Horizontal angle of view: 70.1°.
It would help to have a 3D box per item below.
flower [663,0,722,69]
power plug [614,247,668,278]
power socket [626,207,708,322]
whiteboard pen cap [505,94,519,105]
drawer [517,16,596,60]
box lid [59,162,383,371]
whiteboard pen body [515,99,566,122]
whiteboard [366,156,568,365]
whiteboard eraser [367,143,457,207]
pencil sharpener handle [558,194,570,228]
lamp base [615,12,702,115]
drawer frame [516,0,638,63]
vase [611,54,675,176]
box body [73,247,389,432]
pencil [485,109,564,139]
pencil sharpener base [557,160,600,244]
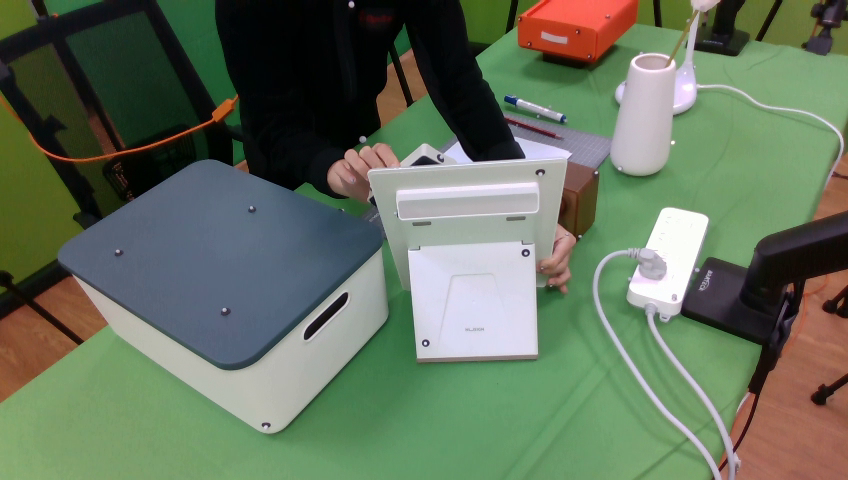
[{"bbox_3d":[0.379,-0.261,0.965,0.044,0.362,0.038,20,53,5],"label":"flower"},{"bbox_3d":[0.306,0.031,0.851,0.072,0.053,0.035,24,49,33],"label":"power plug"},{"bbox_3d":[0.359,0.026,0.886,0.072,0.033,0.227,16,46,26],"label":"power socket"},{"bbox_3d":[0.190,-0.299,1.292,0.033,0.018,0.018,30,52,28],"label":"whiteboard pen cap"},{"bbox_3d":[0.352,-0.506,1.405,0.193,0.073,0.212,23,49,32],"label":"drawer"},{"bbox_3d":[-0.262,0.010,0.777,0.369,0.015,0.264,21,48,29],"label":"box lid"},{"bbox_3d":[0.233,-0.274,1.262,0.139,0.017,0.017,28,51,29],"label":"whiteboard pen body"},{"bbox_3d":[0.059,0.050,0.738,0.217,0.307,0.143,-2,60,6],"label":"whiteboard"},{"bbox_3d":[-0.015,-0.065,0.711,0.056,0.112,0.041,22,52,-34],"label":"whiteboard eraser"},{"bbox_3d":[0.195,-0.038,0.908,0.035,0.068,0.031,24,50,31],"label":"pencil sharpener handle"},{"bbox_3d":[0.484,-0.363,1.211,0.180,0.181,0.159,-15,41,-14],"label":"lamp base"},{"bbox_3d":[0.355,-0.508,1.410,0.200,0.083,0.214,23,51,32],"label":"drawer frame"},{"bbox_3d":[0.377,-0.209,1.031,0.098,0.201,0.097,-3,40,3],"label":"vase"},{"bbox_3d":[-0.255,0.065,0.827,0.361,0.161,0.255,21,48,29],"label":"box body"},{"bbox_3d":[0.201,-0.235,1.228,0.192,0.012,0.012,28,51,33],"label":"pencil"},{"bbox_3d":[0.228,-0.057,0.945,0.061,0.107,0.077,24,50,31],"label":"pencil sharpener base"}]
